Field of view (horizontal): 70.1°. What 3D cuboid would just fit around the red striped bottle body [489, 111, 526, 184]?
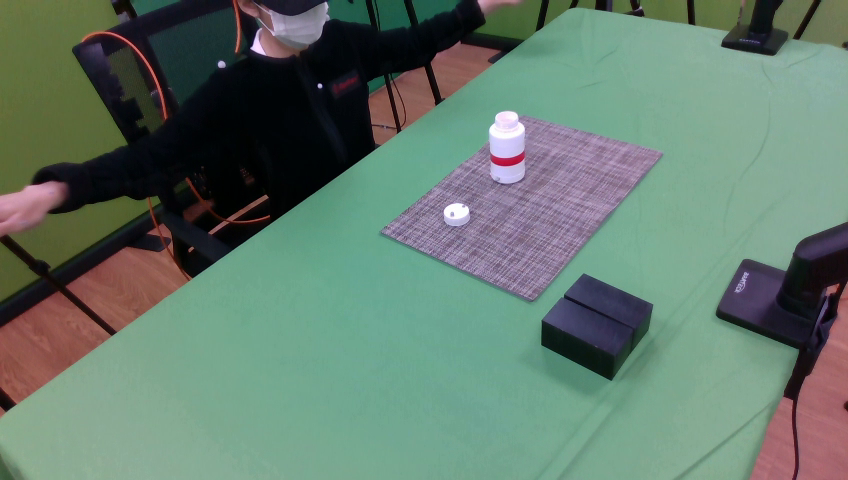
[{"bbox_3d":[0.147,-0.164,1.064,0.063,0.120,0.062,-5,39,4],"label":"red striped bottle body"}]

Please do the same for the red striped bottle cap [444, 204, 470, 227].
[{"bbox_3d":[0.055,-0.042,1.016,0.044,0.018,0.044,-2,42,2],"label":"red striped bottle cap"}]
